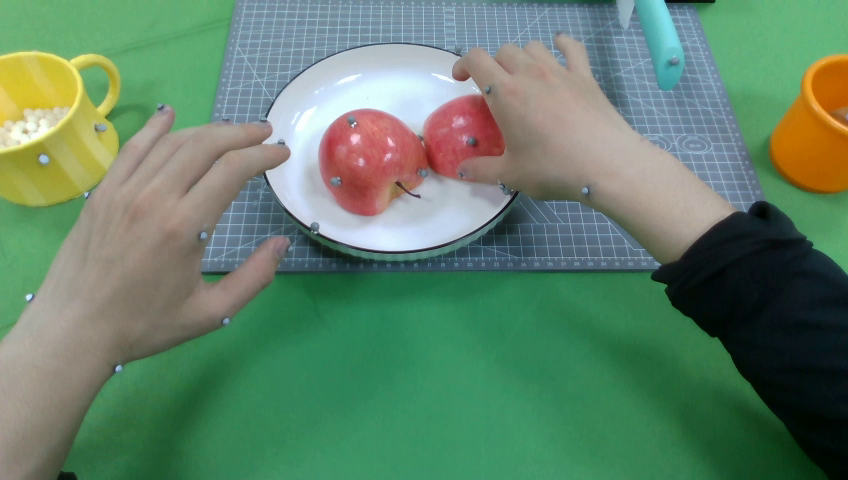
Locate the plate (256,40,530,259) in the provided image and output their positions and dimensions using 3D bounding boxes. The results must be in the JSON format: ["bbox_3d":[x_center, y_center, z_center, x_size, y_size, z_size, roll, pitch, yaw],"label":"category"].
[{"bbox_3d":[-0.024,-0.072,0.475,0.209,0.038,0.207,1,60,-1],"label":"plate"}]

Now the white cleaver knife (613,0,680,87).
[{"bbox_3d":[0.191,-0.242,0.565,0.021,0.066,0.283,-2,56,2],"label":"white cleaver knife"}]

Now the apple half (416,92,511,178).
[{"bbox_3d":[0.030,-0.087,0.471,0.081,0.033,0.081,-1,70,2],"label":"apple half"}]

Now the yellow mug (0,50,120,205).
[{"bbox_3d":[-0.290,-0.097,0.467,0.099,0.064,0.130,30,62,15],"label":"yellow mug"}]

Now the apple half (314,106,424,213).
[{"bbox_3d":[-0.043,-0.068,0.454,0.081,0.054,0.074,-35,65,-17],"label":"apple half"}]

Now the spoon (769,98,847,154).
[{"bbox_3d":[0.363,-0.120,0.455,0.022,0.193,0.041,25,46,-39],"label":"spoon"}]
